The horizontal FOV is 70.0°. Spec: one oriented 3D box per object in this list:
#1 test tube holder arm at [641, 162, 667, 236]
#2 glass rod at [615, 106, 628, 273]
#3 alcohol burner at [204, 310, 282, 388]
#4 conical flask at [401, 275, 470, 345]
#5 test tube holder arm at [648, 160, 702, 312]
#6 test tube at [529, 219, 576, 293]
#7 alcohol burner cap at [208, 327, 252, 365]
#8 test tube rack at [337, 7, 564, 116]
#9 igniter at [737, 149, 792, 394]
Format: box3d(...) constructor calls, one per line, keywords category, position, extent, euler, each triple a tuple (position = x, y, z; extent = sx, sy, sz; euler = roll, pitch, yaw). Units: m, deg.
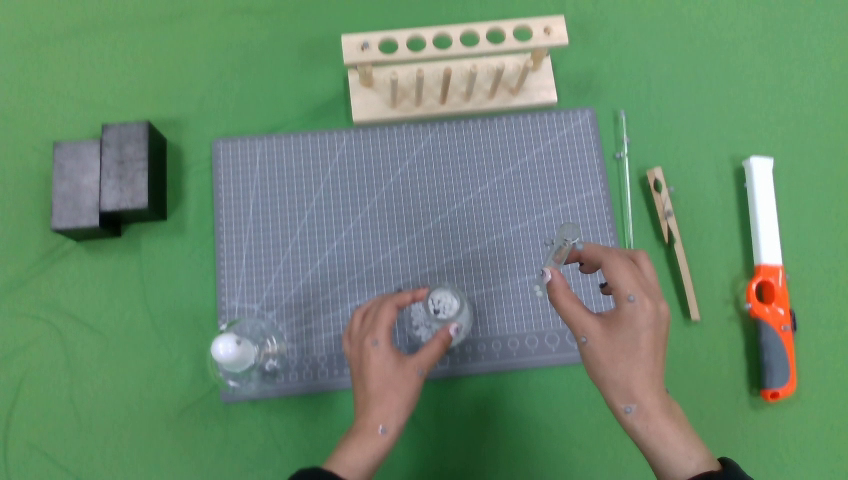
box3d(category="test tube holder arm", position=(0.267, -0.047, 0.696), extent=(0.010, 0.015, 0.087), euler=(-20, 77, 32))
box3d(category="glass rod", position=(0.229, -0.061, 0.701), extent=(0.008, 0.008, 0.199), euler=(1, 80, -2))
box3d(category="alcohol burner", position=(-0.182, 0.105, 0.593), extent=(0.078, 0.119, 0.077), euler=(0, 76, 0))
box3d(category="conical flask", position=(0.013, 0.065, 0.605), extent=(0.075, 0.122, 0.075), euler=(0, 77, -2))
box3d(category="test tube holder arm", position=(0.282, -0.006, 0.684), extent=(0.013, 0.015, 0.177), euler=(-21, 76, 31))
box3d(category="test tube", position=(0.103, 0.018, 0.502), extent=(0.017, 0.151, 0.017), euler=(-1, 69, 2))
box3d(category="alcohol burner cap", position=(-0.181, 0.095, 0.559), extent=(0.034, 0.048, 0.033), euler=(0, 69, -1))
box3d(category="test tube rack", position=(0.030, -0.199, 0.684), extent=(0.242, 0.085, 0.066), euler=(-6, 78, -3))
box3d(category="igniter", position=(0.378, 0.031, 0.677), extent=(0.057, 0.025, 0.275), euler=(4, 78, -11))
